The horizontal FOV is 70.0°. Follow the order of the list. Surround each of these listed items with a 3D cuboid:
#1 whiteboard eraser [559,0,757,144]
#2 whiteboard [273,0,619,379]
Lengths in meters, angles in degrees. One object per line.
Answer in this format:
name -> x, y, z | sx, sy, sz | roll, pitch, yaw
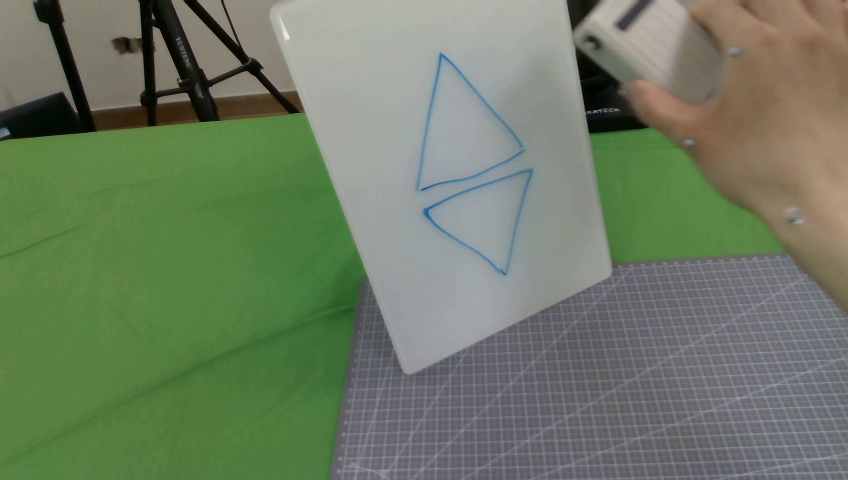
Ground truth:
whiteboard eraser -> 0.143, -0.114, 0.377 | 0.113, 0.042, 0.055 | 38, 87, -1
whiteboard -> 0.019, -0.078, 0.529 | 0.217, 0.308, 0.142 | -23, 25, -13
